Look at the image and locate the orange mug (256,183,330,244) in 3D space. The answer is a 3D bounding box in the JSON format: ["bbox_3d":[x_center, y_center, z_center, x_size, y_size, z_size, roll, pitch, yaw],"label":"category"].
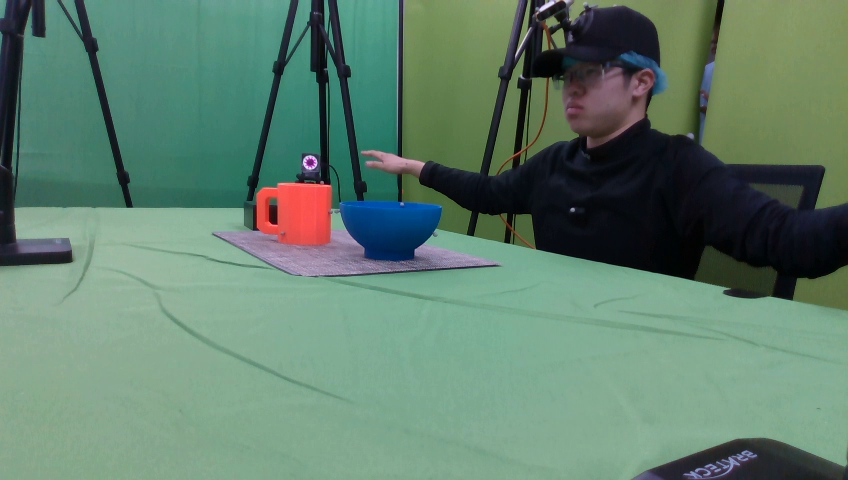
[{"bbox_3d":[-0.216,-0.047,0.999,0.126,0.100,0.083,7,8,8],"label":"orange mug"}]

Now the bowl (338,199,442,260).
[{"bbox_3d":[-0.050,-0.015,0.878,0.151,0.077,0.151,2,8,0],"label":"bowl"}]
